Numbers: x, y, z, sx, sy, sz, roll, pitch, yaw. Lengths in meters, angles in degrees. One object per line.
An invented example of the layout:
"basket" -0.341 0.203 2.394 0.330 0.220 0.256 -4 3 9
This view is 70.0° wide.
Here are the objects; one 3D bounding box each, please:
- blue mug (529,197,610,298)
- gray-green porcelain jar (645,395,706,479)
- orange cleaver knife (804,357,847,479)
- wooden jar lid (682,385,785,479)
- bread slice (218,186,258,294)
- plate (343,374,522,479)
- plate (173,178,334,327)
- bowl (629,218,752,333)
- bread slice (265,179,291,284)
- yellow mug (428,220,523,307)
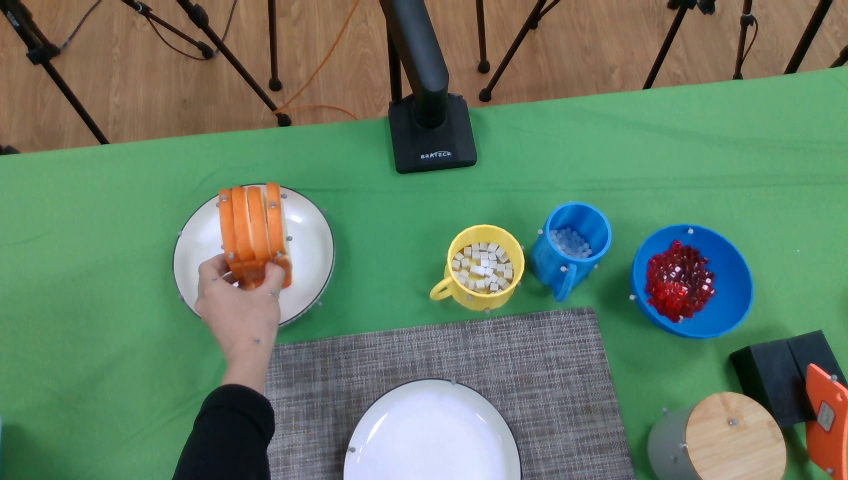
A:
"blue mug" 0.184 0.018 0.784 0.082 0.106 0.116 12 69 3
"gray-green porcelain jar" 0.321 0.232 0.694 0.106 0.127 0.105 1 68 -2
"orange cleaver knife" 0.479 0.245 0.718 0.012 0.077 0.212 -10 99 -4
"wooden jar lid" 0.321 0.208 0.636 0.108 0.021 0.107 2 69 -4
"bread slice" -0.231 -0.007 0.756 0.018 0.135 0.106 -10 65 -7
"plate" 0.010 0.264 0.713 0.209 0.038 0.207 1 68 -1
"plate" -0.223 0.017 0.807 0.208 0.039 0.206 1 69 -2
"bowl" 0.333 0.055 0.789 0.151 0.077 0.150 1 69 -1
"bread slice" -0.184 -0.014 0.762 0.019 0.132 0.104 -6 70 -11
"yellow mug" 0.063 0.039 0.793 0.131 0.064 0.099 -28 71 -11
